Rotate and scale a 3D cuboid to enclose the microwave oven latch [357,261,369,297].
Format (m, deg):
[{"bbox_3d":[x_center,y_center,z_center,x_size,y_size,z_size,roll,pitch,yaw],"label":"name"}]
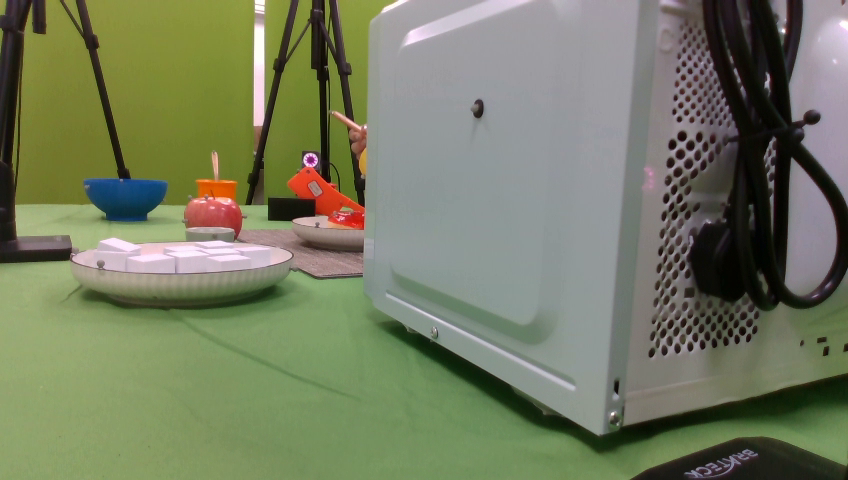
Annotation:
[{"bbox_3d":[-0.019,0.033,0.531,0.079,0.029,0.030,-1,7,-27],"label":"microwave oven latch"}]

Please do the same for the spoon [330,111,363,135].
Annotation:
[{"bbox_3d":[-0.089,-0.162,0.985,0.193,0.021,0.042,44,35,23],"label":"spoon"}]

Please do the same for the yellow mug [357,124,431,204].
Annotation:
[{"bbox_3d":[-0.043,-0.123,0.932,0.100,0.131,0.064,-15,57,-24],"label":"yellow mug"}]

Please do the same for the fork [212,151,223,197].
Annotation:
[{"bbox_3d":[-0.494,-0.143,1.442,0.028,0.018,0.206,-2,52,-20],"label":"fork"}]

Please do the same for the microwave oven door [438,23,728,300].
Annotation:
[{"bbox_3d":[0.181,-0.072,0.621,0.358,0.243,0.039,-2,8,-29],"label":"microwave oven door"}]

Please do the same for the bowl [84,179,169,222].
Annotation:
[{"bbox_3d":[-0.584,-0.078,1.194,0.151,0.077,0.151,3,8,0],"label":"bowl"}]

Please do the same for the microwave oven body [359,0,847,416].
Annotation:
[{"bbox_3d":[0.211,-0.047,0.474,0.444,0.260,0.324,-1,7,-28],"label":"microwave oven body"}]

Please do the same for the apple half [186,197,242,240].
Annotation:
[{"bbox_3d":[-0.306,-0.026,0.904,0.053,0.074,0.081,14,9,37],"label":"apple half"}]

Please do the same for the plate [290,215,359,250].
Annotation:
[{"bbox_3d":[-0.110,-0.014,0.973,0.209,0.038,0.209,3,8,0],"label":"plate"}]

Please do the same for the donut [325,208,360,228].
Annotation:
[{"bbox_3d":[-0.110,-0.025,0.974,0.099,0.048,0.099,5,8,0],"label":"donut"}]

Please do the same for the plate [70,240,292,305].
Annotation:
[{"bbox_3d":[-0.242,0.031,0.618,0.208,0.039,0.207,2,8,0],"label":"plate"}]

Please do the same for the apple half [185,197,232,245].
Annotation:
[{"bbox_3d":[-0.337,-0.031,0.928,0.032,0.081,0.082,13,12,37],"label":"apple half"}]

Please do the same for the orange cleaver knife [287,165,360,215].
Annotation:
[{"bbox_3d":[-0.211,-0.093,1.382,0.212,0.077,0.012,33,1,-15],"label":"orange cleaver knife"}]

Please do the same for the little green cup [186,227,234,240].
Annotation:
[{"bbox_3d":[-0.284,0.005,0.805,0.061,0.038,0.061,2,8,0],"label":"little green cup"}]
